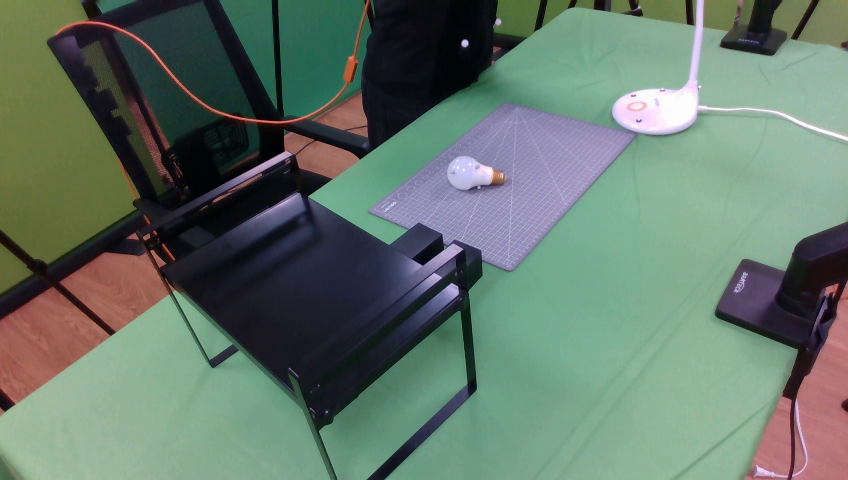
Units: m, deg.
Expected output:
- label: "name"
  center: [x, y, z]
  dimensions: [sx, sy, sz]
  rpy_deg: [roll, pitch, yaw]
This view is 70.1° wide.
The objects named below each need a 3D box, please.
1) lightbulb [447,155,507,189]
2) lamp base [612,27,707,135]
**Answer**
- label: "lightbulb"
  center: [0.095, -0.118, 1.074]
  dimensions: [0.108, 0.059, 0.059]
  rpy_deg: [7, 40, -7]
- label: "lamp base"
  center: [0.461, -0.315, 1.152]
  dimensions: [0.179, 0.181, 0.159]
  rpy_deg: [-5, 41, -1]
